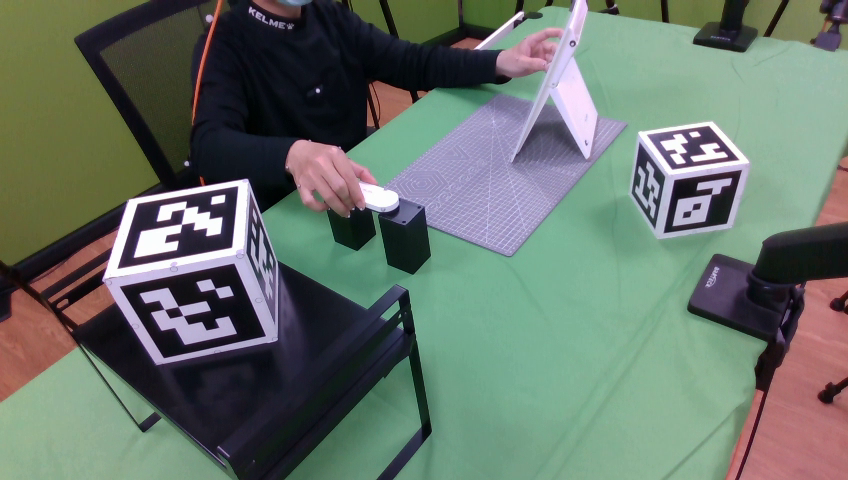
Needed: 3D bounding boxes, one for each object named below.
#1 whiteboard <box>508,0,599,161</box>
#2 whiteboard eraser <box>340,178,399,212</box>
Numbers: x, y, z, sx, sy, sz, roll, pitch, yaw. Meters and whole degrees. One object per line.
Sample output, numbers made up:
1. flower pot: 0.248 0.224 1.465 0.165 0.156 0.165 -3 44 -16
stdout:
1. whiteboard: 0.285 -0.289 1.088 0.144 0.305 0.217 22 45 3
2. whiteboard eraser: -0.083 -0.068 0.906 0.100 0.019 0.041 20 49 29
